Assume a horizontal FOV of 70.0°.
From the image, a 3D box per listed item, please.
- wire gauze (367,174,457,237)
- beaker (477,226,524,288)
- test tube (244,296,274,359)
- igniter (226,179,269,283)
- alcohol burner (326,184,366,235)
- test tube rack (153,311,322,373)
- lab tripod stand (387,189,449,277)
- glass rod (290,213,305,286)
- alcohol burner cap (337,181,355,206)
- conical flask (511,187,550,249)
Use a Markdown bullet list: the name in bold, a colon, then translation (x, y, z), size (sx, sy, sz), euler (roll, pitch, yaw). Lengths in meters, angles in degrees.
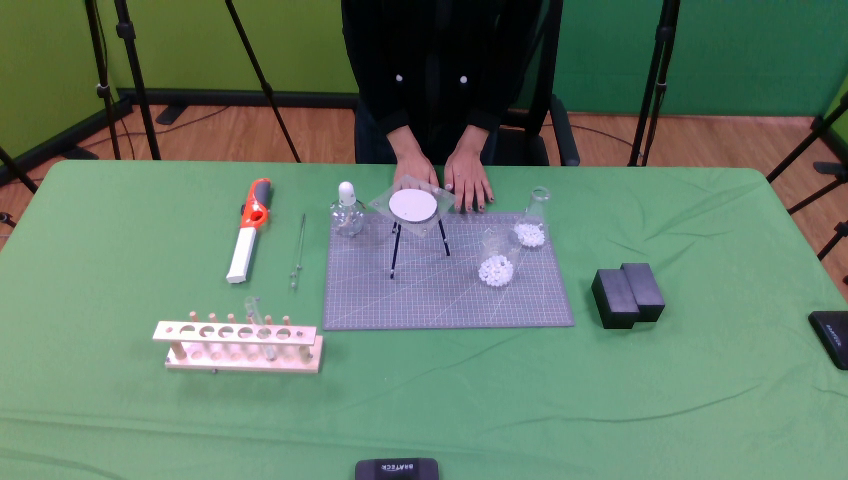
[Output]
- **wire gauze**: translation (-0.021, -0.067, 1.089), size (0.124, 0.011, 0.121), euler (28, 49, 21)
- **beaker**: translation (0.139, 0.033, 1.122), size (0.084, 0.101, 0.073), euler (-12, 48, -16)
- **test tube**: translation (-0.253, 0.138, 0.934), size (0.017, 0.151, 0.017), euler (-1, 46, 1)
- **igniter**: translation (-0.345, -0.027, 1.195), size (0.057, 0.025, 0.274), euler (-6, 46, 5)
- **alcohol burner**: translation (-0.152, -0.066, 1.184), size (0.078, 0.119, 0.077), euler (4, 46, -4)
- **test tube rack**: translation (-0.293, 0.160, 0.978), size (0.242, 0.085, 0.066), euler (3, 46, -2)
- **lab tripod stand**: translation (-0.021, -0.018, 1.135), size (0.148, 0.132, 0.147), euler (3, 44, -3)
- **glass rod**: translation (-0.245, 0.015, 1.175), size (0.008, 0.008, 0.198), euler (1, 43, -3)
- **alcohol burner cap**: translation (-0.151, -0.090, 1.157), size (0.034, 0.048, 0.033), euler (0, 52, 0)
- **conical flask**: translation (0.217, -0.048, 1.190), size (0.075, 0.122, 0.075), euler (2, 46, -2)
